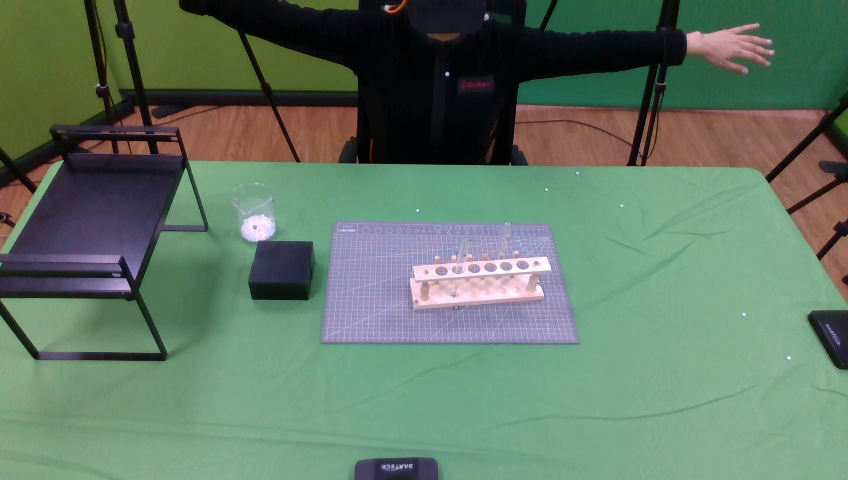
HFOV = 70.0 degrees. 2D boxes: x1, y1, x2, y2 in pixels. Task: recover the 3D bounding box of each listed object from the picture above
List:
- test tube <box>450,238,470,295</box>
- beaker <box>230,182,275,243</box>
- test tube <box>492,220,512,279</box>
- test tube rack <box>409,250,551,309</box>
[{"bbox_3d":[0.060,0.048,1.040,0.017,0.151,0.017,3,51,-4],"label":"test tube"},{"bbox_3d":[-0.328,-0.049,1.166,0.074,0.101,0.083,2,47,-2],"label":"beaker"},{"bbox_3d":[0.138,0.018,1.082,0.017,0.151,0.017,2,47,-2],"label":"test tube"},{"bbox_3d":[0.098,0.065,1.096,0.243,0.085,0.066,-4,47,-8],"label":"test tube rack"}]
